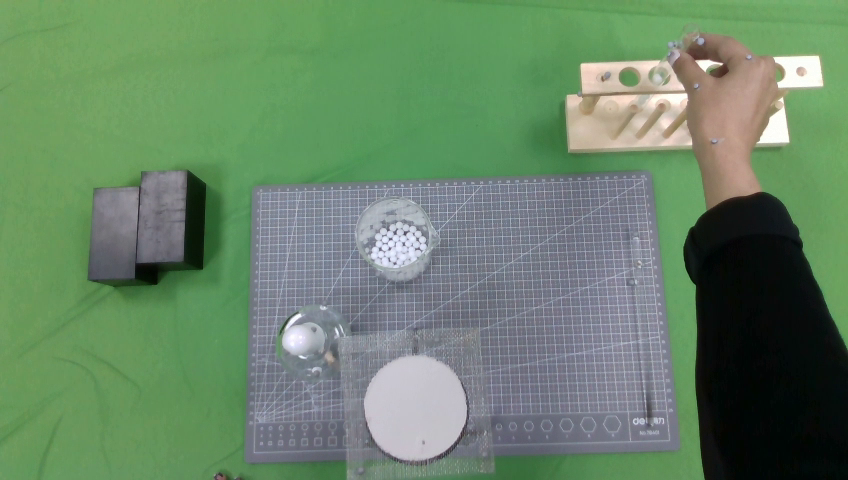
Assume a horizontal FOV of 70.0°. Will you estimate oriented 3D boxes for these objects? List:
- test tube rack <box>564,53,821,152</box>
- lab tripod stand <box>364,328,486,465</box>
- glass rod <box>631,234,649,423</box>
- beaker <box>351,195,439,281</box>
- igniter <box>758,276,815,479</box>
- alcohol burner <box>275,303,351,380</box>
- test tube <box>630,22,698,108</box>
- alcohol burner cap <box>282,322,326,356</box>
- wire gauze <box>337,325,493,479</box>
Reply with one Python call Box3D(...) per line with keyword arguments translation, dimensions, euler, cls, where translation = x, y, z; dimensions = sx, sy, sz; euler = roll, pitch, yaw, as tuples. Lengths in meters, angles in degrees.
Box3D(translation=(0.281, -0.145, 0.653), dimensions=(0.242, 0.085, 0.066), euler=(-2, 78, 2), cls="test tube rack")
Box3D(translation=(-0.006, 0.153, 0.576), dimensions=(0.148, 0.132, 0.147), euler=(-1, 78, 3), cls="lab tripod stand")
Box3D(translation=(0.230, 0.092, 0.645), dimensions=(0.008, 0.008, 0.199), euler=(-1, 82, 1), cls="glass rod")
Box3D(translation=(-0.026, 0.003, 0.623), dimensions=(0.084, 0.100, 0.073), euler=(7, 79, 3), cls="beaker")
Box3D(translation=(0.369, 0.174, 0.618), dimensions=(0.057, 0.025, 0.275), euler=(7, 79, -7), cls="igniter")
Box3D(translation=(-0.113, 0.099, 0.600), dimensions=(0.078, 0.119, 0.077), euler=(0, 76, 2), cls="alcohol burner")
Box3D(translation=(0.236, -0.170, 0.607), dimensions=(0.017, 0.151, 0.017), euler=(0, 77, 1), cls="test tube")
Box3D(translation=(-0.114, 0.093, 0.564), dimensions=(0.034, 0.048, 0.034), euler=(-1, 83, 8), cls="alcohol burner cap")
Box3D(translation=(-0.009, 0.136, 0.511), dimensions=(0.125, 0.011, 0.121), euler=(-5, 78, 1), cls="wire gauze")
